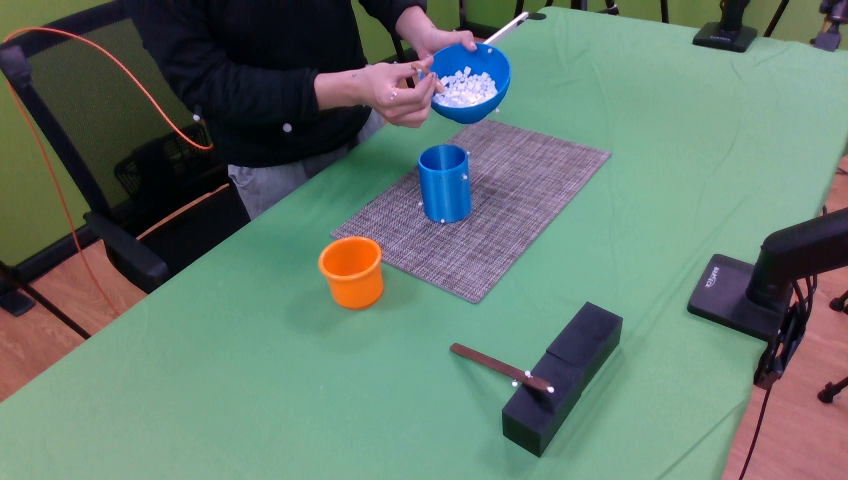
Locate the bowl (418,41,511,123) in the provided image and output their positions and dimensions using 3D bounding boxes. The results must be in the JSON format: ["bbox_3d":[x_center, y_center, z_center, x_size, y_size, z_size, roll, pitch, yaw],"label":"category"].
[{"bbox_3d":[0.071,-0.247,0.999,0.151,0.077,0.150,-5,58,8],"label":"bowl"}]

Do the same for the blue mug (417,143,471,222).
[{"bbox_3d":[0.031,-0.104,1.014,0.082,0.106,0.115,-14,41,-7],"label":"blue mug"}]

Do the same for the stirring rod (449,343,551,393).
[{"bbox_3d":[0.088,0.154,0.741,0.014,0.006,0.174,-40,28,-25],"label":"stirring rod"}]

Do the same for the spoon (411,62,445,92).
[{"bbox_3d":[0.005,-0.245,0.892,0.021,0.041,0.194,-38,-1,10],"label":"spoon"}]
